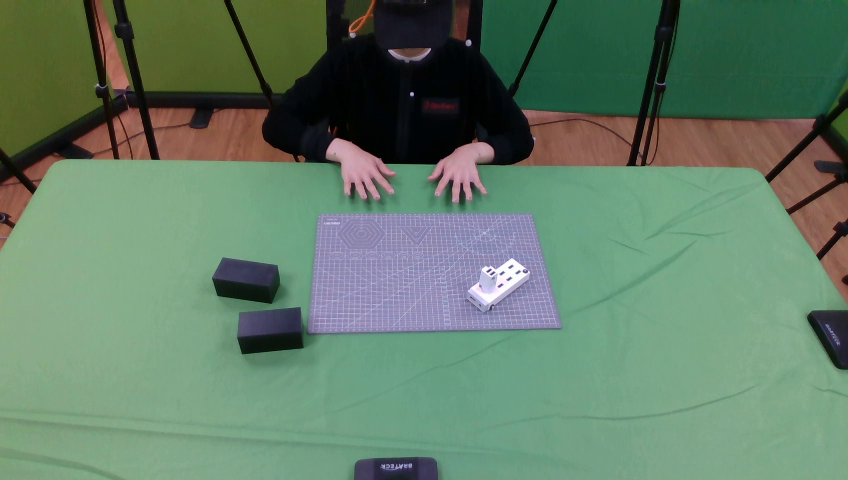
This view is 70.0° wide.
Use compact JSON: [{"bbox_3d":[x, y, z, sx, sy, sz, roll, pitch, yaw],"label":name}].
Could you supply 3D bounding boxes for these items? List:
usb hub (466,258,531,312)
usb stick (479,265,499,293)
[{"bbox_3d":[0.139,0.083,1.121,0.125,0.025,0.049,-32,56,-30],"label":"usb hub"},{"bbox_3d":[0.115,0.074,1.084,0.021,0.059,0.027,-34,60,-31],"label":"usb stick"}]
